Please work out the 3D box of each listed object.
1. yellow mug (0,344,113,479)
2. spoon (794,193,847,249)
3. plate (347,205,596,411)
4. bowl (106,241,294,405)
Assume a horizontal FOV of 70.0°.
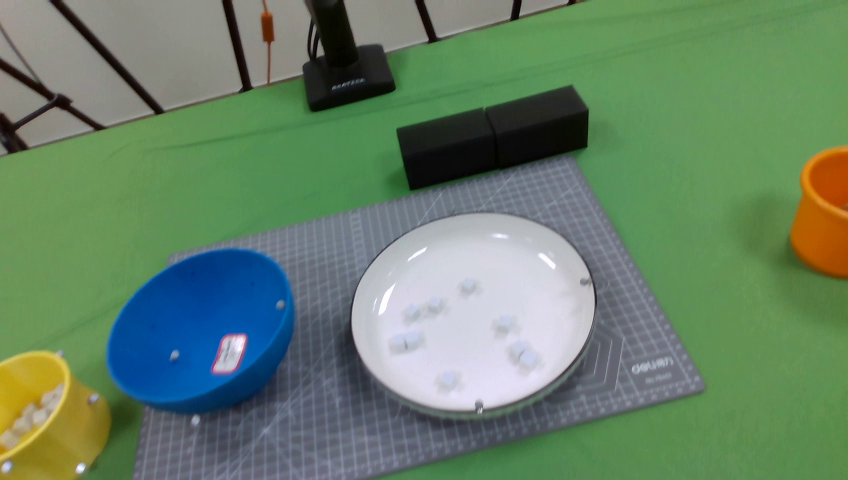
[{"bbox_3d":[-0.326,0.156,0.489,0.099,0.064,0.130,4,50,15],"label":"yellow mug"},{"bbox_3d":[0.381,-0.058,0.472,0.022,0.194,0.041,17,40,-33],"label":"spoon"},{"bbox_3d":[0.039,0.054,0.517,0.209,0.038,0.207,-6,47,7],"label":"plate"},{"bbox_3d":[-0.174,0.081,0.513,0.151,0.077,0.150,-7,47,7],"label":"bowl"}]
